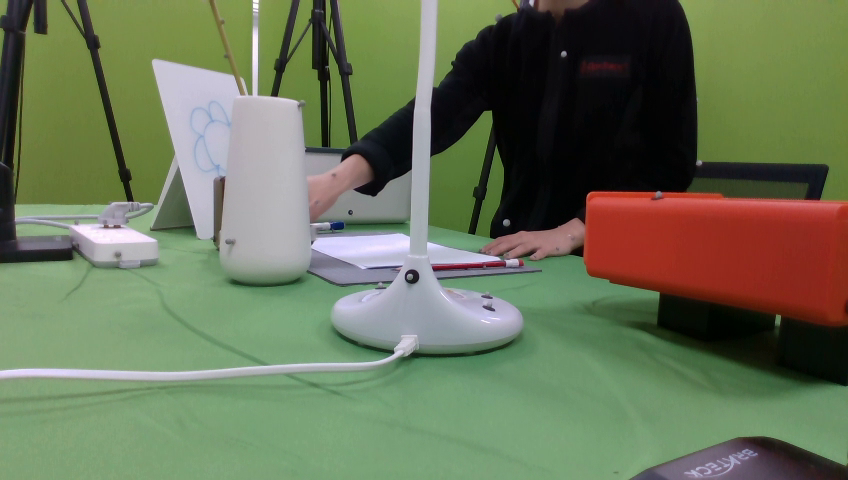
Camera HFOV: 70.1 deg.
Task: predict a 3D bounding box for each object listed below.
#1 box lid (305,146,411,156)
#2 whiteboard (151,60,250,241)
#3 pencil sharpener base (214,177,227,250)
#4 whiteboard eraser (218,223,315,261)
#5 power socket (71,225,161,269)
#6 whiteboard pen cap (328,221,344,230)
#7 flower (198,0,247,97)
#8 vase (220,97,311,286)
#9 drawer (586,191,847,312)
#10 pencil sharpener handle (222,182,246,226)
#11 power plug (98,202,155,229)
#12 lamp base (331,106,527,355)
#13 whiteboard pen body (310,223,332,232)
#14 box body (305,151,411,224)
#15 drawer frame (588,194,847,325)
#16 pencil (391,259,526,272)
[{"bbox_3d":[-0.229,-0.200,1.360,0.373,0.015,0.262,-3,9,-32],"label":"box lid"},{"bbox_3d":[-0.408,-0.139,1.094,0.143,0.305,0.218,-15,-1,26],"label":"whiteboard"},{"bbox_3d":[-0.265,-0.036,0.870,0.061,0.107,0.076,-2,8,-29],"label":"pencil sharpener base"},{"bbox_3d":[-0.201,0.002,0.779,0.113,0.042,0.055,-9,6,-38],"label":"whiteboard eraser"},{"bbox_3d":[-0.408,0.004,0.793,0.072,0.032,0.225,-2,8,-38],"label":"power socket"},{"bbox_3d":[-0.166,-0.027,1.124,0.018,0.018,0.033,9,10,40],"label":"whiteboard pen cap"},{"bbox_3d":[-0.187,-0.133,0.648,0.038,0.362,0.044,-1,22,43],"label":"flower"},{"bbox_3d":[-0.172,-0.052,0.662,0.098,0.200,0.098,3,9,0],"label":"vase"},{"bbox_3d":[0.281,0.001,0.513,0.195,0.073,0.210,-1,8,-29],"label":"drawer"},{"bbox_3d":[-0.289,-0.055,0.912,0.036,0.067,0.030,-3,8,-29],"label":"pencil sharpener handle"},{"bbox_3d":[-0.416,-0.026,0.848,0.073,0.052,0.035,0,8,-28],"label":"power plug"},{"bbox_3d":[0.006,-0.012,0.478,0.161,0.180,0.179,2,10,2],"label":"lamp base"},{"bbox_3d":[-0.207,-0.021,1.081,0.017,0.017,0.141,9,10,41],"label":"whiteboard pen body"},{"bbox_3d":[-0.230,-0.126,1.371,0.366,0.160,0.253,-2,8,-33],"label":"box body"},{"bbox_3d":[0.286,0.004,0.508,0.203,0.082,0.212,-1,6,-30],"label":"drawer frame"},{"bbox_3d":[0.048,0.034,0.782,0.195,0.012,0.012,-2,9,-24],"label":"pencil"}]
